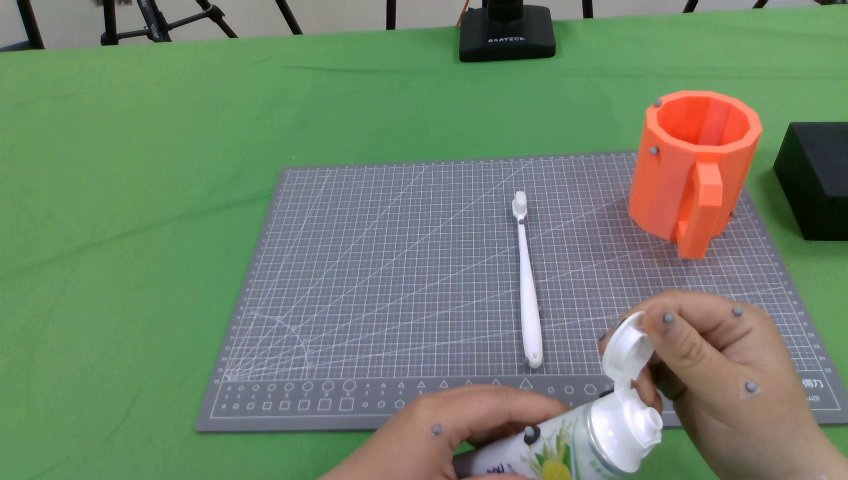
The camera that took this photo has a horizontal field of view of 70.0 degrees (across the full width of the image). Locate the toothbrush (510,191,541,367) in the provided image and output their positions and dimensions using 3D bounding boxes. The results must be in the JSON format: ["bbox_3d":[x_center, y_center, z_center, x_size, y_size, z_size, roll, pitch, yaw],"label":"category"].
[{"bbox_3d":[0.083,0.024,0.497,0.014,0.017,0.180,6,47,-3],"label":"toothbrush"}]

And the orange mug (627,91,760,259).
[{"bbox_3d":[0.218,-0.049,0.496,0.083,0.102,0.125,4,42,11],"label":"orange mug"}]

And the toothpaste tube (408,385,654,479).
[{"bbox_3d":[0.050,0.119,0.318,0.035,0.165,0.054,-12,65,-49],"label":"toothpaste tube"}]

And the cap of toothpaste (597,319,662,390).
[{"bbox_3d":[0.096,0.053,0.279,0.037,0.038,0.011,-25,35,-18],"label":"cap of toothpaste"}]
